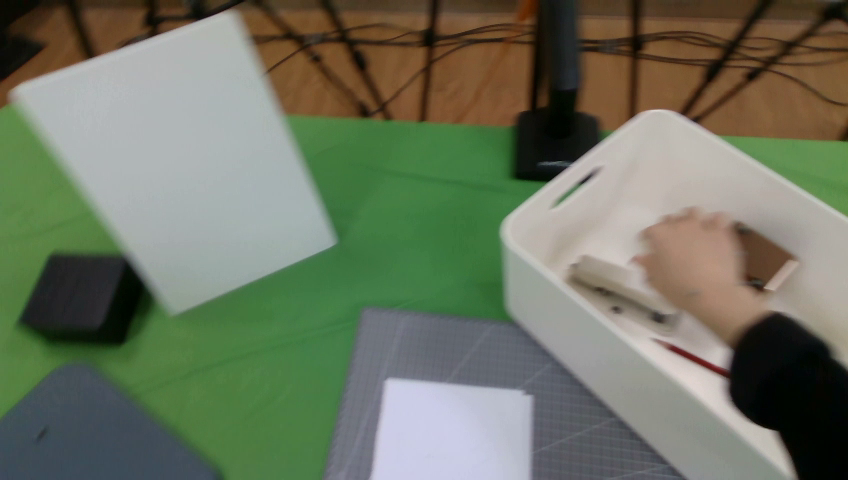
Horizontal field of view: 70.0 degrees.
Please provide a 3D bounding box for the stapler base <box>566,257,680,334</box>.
[{"bbox_3d":[0.229,0.058,0.692,0.129,0.024,0.041,30,60,21],"label":"stapler base"}]

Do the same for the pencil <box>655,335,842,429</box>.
[{"bbox_3d":[0.332,0.145,0.637,0.192,0.012,0.012,27,62,23],"label":"pencil"}]

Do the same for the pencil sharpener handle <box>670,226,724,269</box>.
[{"bbox_3d":[0.294,0.003,0.660,0.036,0.068,0.030,-29,57,-31],"label":"pencil sharpener handle"}]

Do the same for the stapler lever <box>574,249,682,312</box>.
[{"bbox_3d":[0.226,0.042,0.671,0.117,0.040,0.027,29,60,23],"label":"stapler lever"}]

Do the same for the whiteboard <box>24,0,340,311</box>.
[{"bbox_3d":[-0.260,-0.109,0.710,0.217,0.308,0.142,-24,39,-11],"label":"whiteboard"}]

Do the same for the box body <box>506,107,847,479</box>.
[{"bbox_3d":[0.285,0.069,0.604,0.254,0.162,0.360,-36,61,-19],"label":"box body"}]

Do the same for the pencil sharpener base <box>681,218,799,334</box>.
[{"bbox_3d":[0.330,0.039,0.649,0.061,0.108,0.076,-36,61,-20],"label":"pencil sharpener base"}]

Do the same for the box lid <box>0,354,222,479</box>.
[{"bbox_3d":[-0.407,0.310,0.583,0.261,0.015,0.370,30,63,21],"label":"box lid"}]
